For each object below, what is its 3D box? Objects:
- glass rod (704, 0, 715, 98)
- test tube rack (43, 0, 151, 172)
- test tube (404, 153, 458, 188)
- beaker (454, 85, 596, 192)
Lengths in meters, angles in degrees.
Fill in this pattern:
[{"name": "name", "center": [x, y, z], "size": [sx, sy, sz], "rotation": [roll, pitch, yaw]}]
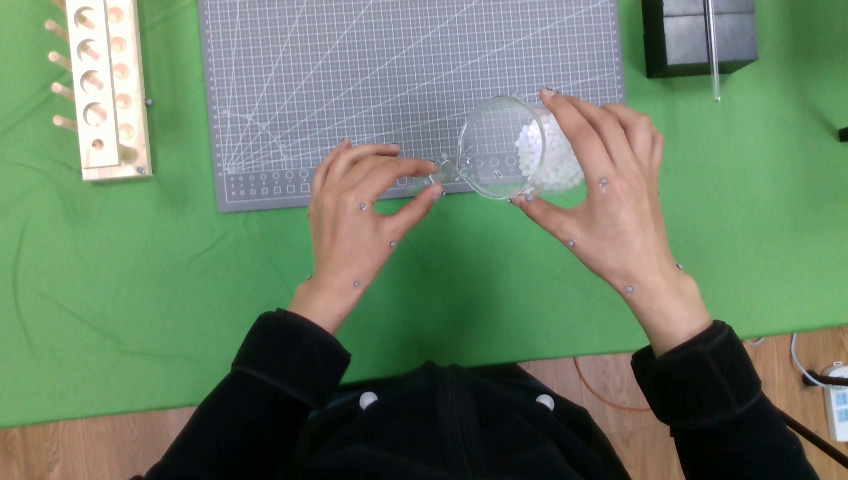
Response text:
[{"name": "glass rod", "center": [0.293, -0.247, 0.627], "size": [0.008, 0.008, 0.199], "rotation": [-3, 91, -4]}, {"name": "test tube rack", "center": [-0.326, -0.193, 0.589], "size": [0.067, 0.085, 0.242], "rotation": [-5, 91, -4]}, {"name": "test tube", "center": [0.003, -0.059, 0.538], "size": [0.017, 0.150, 0.017], "rotation": [0, 90, -13]}, {"name": "beaker", "center": [0.082, -0.074, 0.473], "size": [0.084, 0.101, 0.074], "rotation": [-20, 82, 39]}]
